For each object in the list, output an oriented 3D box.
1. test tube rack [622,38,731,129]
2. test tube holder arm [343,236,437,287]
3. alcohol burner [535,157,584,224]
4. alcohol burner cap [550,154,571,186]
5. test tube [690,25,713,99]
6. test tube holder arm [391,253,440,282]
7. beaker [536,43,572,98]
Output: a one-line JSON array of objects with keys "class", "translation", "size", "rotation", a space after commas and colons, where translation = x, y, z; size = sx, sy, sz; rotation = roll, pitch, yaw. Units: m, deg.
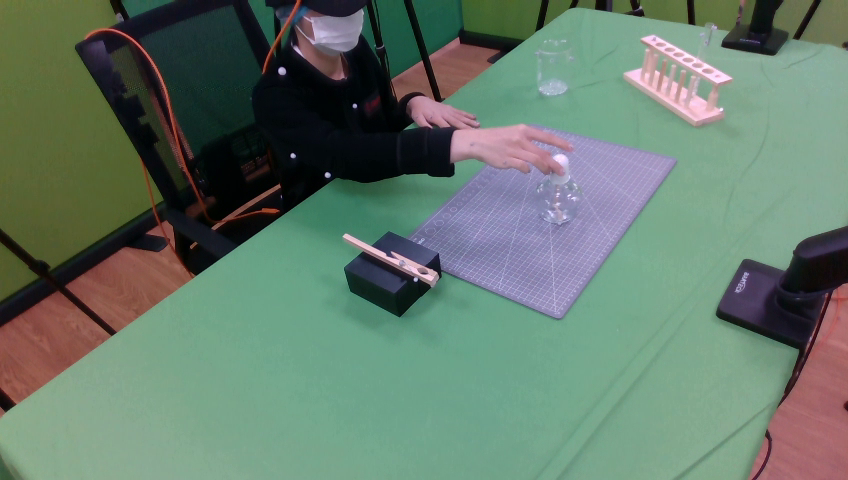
[{"class": "test tube rack", "translation": [0.506, -0.325, 1.234], "size": [0.067, 0.085, 0.240], "rotation": [-18, 41, -11]}, {"class": "test tube holder arm", "translation": [-0.054, 0.029, 0.879], "size": [0.177, 0.015, 0.013], "rotation": [22, 56, 32]}, {"class": "alcohol burner", "translation": [0.217, -0.085, 0.967], "size": [0.078, 0.119, 0.077], "rotation": [-3, 41, 3]}, {"class": "alcohol burner cap", "translation": [0.212, -0.112, 0.944], "size": [0.034, 0.048, 0.033], "rotation": [-6, 45, 7]}, {"class": "test tube", "translation": [0.534, -0.342, 1.173], "size": [0.017, 0.151, 0.017], "rotation": [-3, 41, 3]}, {"class": "test tube holder arm", "translation": [-0.015, 0.039, 0.858], "size": [0.087, 0.015, 0.010], "rotation": [22, 56, 32]}, {"class": "beaker", "translation": [0.281, -0.368, 1.311], "size": [0.074, 0.101, 0.084], "rotation": [4, 41, 14]}]
